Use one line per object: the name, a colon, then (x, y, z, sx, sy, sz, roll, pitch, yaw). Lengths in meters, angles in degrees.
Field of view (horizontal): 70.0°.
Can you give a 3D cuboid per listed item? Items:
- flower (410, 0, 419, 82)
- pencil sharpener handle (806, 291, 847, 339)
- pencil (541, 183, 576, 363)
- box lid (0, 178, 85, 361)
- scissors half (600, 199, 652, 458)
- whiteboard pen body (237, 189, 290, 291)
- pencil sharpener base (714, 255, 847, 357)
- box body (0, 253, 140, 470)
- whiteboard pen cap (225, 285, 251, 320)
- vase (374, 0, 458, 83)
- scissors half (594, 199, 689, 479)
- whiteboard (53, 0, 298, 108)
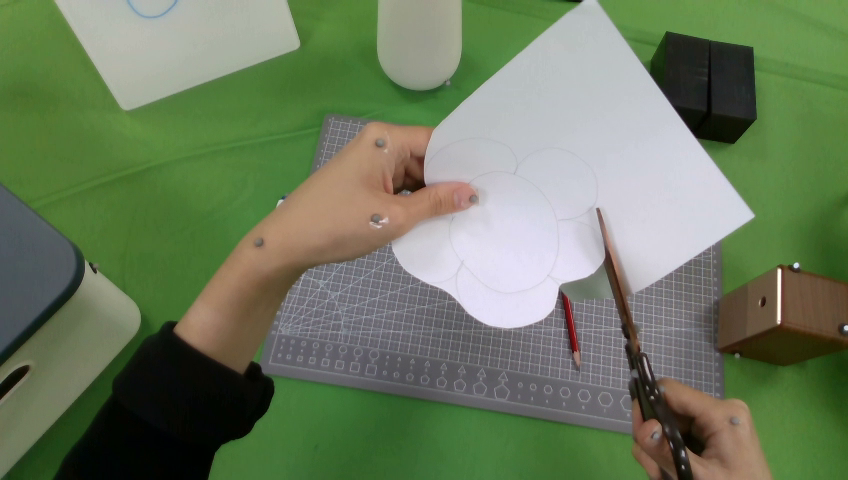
flower: (-0.012, -0.301, 0.561, 0.044, 0.365, 0.038, 2, 51, 3)
pencil sharpener handle: (0.385, 0.074, 0.558, 0.030, 0.068, 0.035, 13, 63, 0)
pencil: (0.140, 0.030, 0.627, 0.012, 0.012, 0.192, -4, 71, -3)
box lid: (-0.472, 0.007, 0.453, 0.370, 0.015, 0.262, 35, 71, 11)
scissors half: (0.123, 0.057, 0.365, 0.013, 0.040, 0.176, -14, 111, 8)
whiteboard pen body: (-0.167, 0.009, 0.621, 0.017, 0.017, 0.140, 15, 67, 4)
pencil sharpener base: (0.335, 0.066, 0.569, 0.077, 0.107, 0.061, 13, 68, 0)
box body: (-0.472, 0.036, 0.522, 0.362, 0.161, 0.253, 34, 72, 11)
whiteboard pen cap: (-0.182, 0.061, 0.598, 0.018, 0.018, 0.033, 15, 65, 4)
vase: (-0.009, -0.256, 0.634, 0.098, 0.201, 0.097, 0, 67, 0)
scissors half: (0.122, 0.060, 0.343, 0.013, 0.040, 0.175, -15, 86, 3)
whiteboard: (-0.294, -0.335, 0.629, 0.217, 0.308, 0.142, -24, 52, -10)
